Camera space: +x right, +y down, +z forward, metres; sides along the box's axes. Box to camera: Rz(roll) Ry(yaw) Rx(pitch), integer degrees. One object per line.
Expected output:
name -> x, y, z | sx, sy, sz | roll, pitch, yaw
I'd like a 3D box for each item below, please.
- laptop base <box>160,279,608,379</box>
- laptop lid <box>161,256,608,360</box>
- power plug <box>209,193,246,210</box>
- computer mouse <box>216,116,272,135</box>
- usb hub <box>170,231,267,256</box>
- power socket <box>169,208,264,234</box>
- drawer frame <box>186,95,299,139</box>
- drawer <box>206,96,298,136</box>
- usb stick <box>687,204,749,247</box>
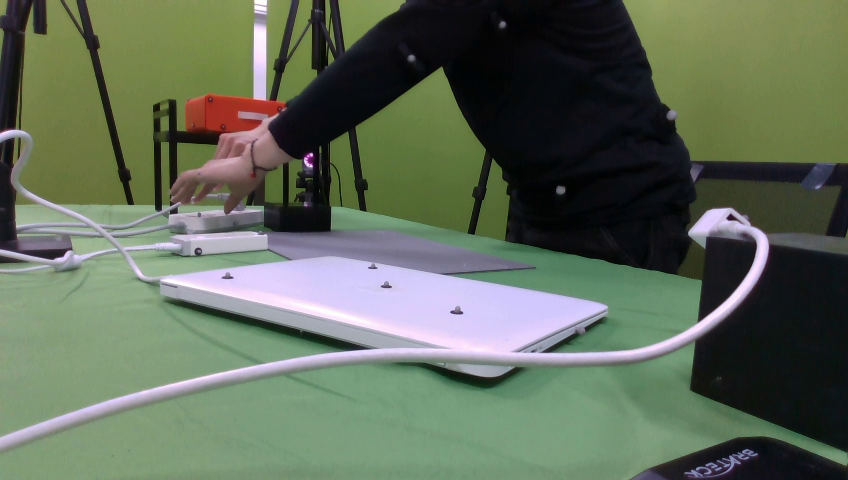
laptop base -> -0.039, 0.059, 0.555 | 0.352, 0.023, 0.237 | 7, 7, 33
laptop lid -> -0.037, 0.046, 0.556 | 0.355, 0.013, 0.243 | 8, 8, 35
power plug -> -0.389, -0.067, 1.205 | 0.072, 0.052, 0.035 | 4, 8, 26
computer mouse -> -0.402, -0.257, 1.353 | 0.118, 0.041, 0.062 | -6, 15, -34
usb hub -> -0.290, 0.004, 0.862 | 0.049, 0.025, 0.126 | 11, 12, 42
power socket -> -0.380, -0.038, 1.129 | 0.072, 0.032, 0.227 | 4, 8, 16
drawer frame -> -0.417, -0.277, 1.378 | 0.203, 0.082, 0.212 | -3, 8, -32
drawer -> -0.414, -0.276, 1.376 | 0.195, 0.073, 0.210 | -3, 9, -31
usb stick -> 0.214, -0.010, 0.448 | 0.021, 0.027, 0.059 | 40, 2, 6
